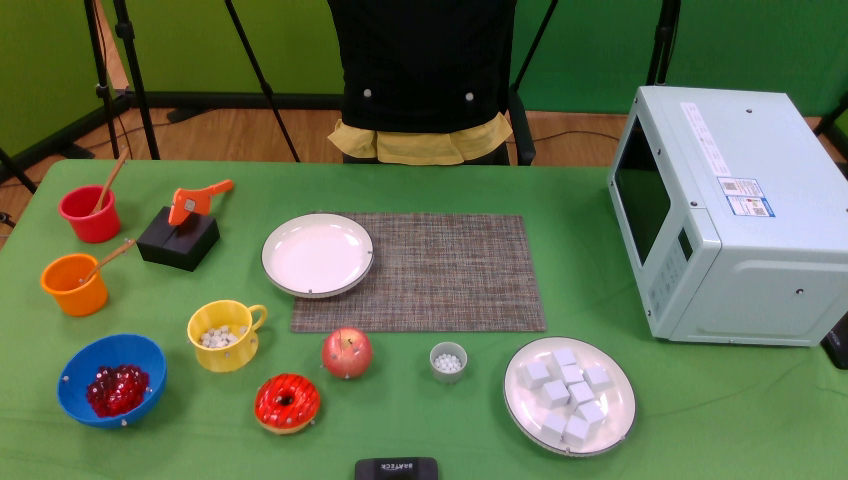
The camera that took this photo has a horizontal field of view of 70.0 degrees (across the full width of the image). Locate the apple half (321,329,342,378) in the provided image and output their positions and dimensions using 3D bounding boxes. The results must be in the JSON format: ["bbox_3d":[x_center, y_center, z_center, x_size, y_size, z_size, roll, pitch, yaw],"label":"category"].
[{"bbox_3d":[-0.149,0.186,0.972,0.033,0.081,0.080,-2,46,-12],"label":"apple half"}]

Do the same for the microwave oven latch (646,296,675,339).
[{"bbox_3d":[0.412,0.134,1.061,0.030,0.029,0.078,4,45,1],"label":"microwave oven latch"}]

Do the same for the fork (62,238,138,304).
[{"bbox_3d":[-0.547,0.053,1.018,0.207,0.019,0.028,-36,41,23],"label":"fork"}]

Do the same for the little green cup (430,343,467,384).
[{"bbox_3d":[0.039,0.203,0.994,0.061,0.039,0.061,2,46,-2],"label":"little green cup"}]

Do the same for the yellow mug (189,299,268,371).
[{"bbox_3d":[-0.316,0.148,1.002,0.131,0.064,0.099,-33,56,-31],"label":"yellow mug"}]

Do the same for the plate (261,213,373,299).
[{"bbox_3d":[-0.198,0.032,1.137,0.209,0.038,0.208,2,46,-2],"label":"plate"}]

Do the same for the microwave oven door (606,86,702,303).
[{"bbox_3d":[0.423,-0.094,1.141,0.039,0.245,0.353,2,46,-1],"label":"microwave oven door"}]

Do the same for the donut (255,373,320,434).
[{"bbox_3d":[-0.209,0.249,0.928,0.099,0.048,0.098,3,43,-3],"label":"donut"}]

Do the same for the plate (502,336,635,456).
[{"bbox_3d":[0.225,0.248,0.963,0.208,0.039,0.206,2,46,-2],"label":"plate"}]

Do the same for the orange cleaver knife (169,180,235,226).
[{"bbox_3d":[-0.436,-0.076,1.199,0.012,0.077,0.211,18,17,9],"label":"orange cleaver knife"}]

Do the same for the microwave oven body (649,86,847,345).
[{"bbox_3d":[0.567,-0.053,1.118,0.326,0.261,0.439,2,45,-1],"label":"microwave oven body"}]

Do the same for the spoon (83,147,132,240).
[{"bbox_3d":[-0.602,-0.089,1.157,0.041,0.022,0.194,27,95,20],"label":"spoon"}]

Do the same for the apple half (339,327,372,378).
[{"bbox_3d":[-0.111,0.182,0.980,0.053,0.075,0.080,-2,42,-12],"label":"apple half"}]

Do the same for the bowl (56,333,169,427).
[{"bbox_3d":[-0.456,0.223,0.911,0.151,0.077,0.150,3,45,-2],"label":"bowl"}]
